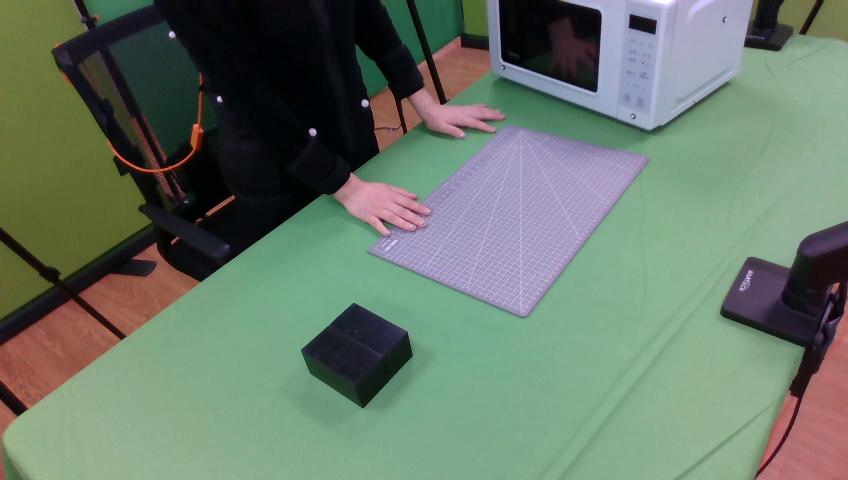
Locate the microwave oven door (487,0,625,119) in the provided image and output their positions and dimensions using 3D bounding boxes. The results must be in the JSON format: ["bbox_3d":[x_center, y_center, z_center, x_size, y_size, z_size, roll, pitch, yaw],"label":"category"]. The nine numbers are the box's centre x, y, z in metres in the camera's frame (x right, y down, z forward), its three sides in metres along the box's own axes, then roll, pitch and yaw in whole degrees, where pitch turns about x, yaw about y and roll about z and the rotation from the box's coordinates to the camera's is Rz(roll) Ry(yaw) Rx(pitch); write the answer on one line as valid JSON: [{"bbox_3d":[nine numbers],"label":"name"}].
[{"bbox_3d":[0.262,-0.409,1.221,0.039,0.245,0.352,-33,45,-25],"label":"microwave oven door"}]

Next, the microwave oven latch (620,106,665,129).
[{"bbox_3d":[0.412,-0.237,1.146,0.030,0.029,0.078,-32,44,-23],"label":"microwave oven latch"}]

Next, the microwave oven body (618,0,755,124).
[{"bbox_3d":[0.402,-0.458,1.259,0.327,0.261,0.437,-33,45,-24],"label":"microwave oven body"}]
